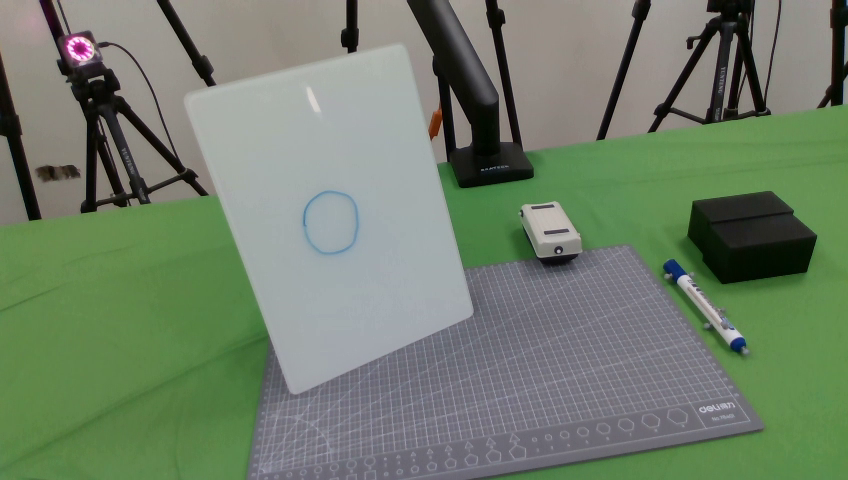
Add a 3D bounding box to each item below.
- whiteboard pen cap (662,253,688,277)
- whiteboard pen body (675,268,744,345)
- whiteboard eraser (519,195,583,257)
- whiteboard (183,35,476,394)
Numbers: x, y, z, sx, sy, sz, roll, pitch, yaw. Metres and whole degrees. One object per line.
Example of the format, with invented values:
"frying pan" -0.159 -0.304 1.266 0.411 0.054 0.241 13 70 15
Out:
"whiteboard pen cap" 0.291 0.030 0.700 0.018 0.018 0.033 -10 32 -4
"whiteboard pen body" 0.300 0.062 0.653 0.017 0.017 0.139 -9 33 -4
"whiteboard eraser" 0.160 -0.018 0.773 0.055 0.042 0.111 -9 30 0
"whiteboard" -0.101 -0.035 0.657 0.217 0.307 0.143 -21 17 -20
